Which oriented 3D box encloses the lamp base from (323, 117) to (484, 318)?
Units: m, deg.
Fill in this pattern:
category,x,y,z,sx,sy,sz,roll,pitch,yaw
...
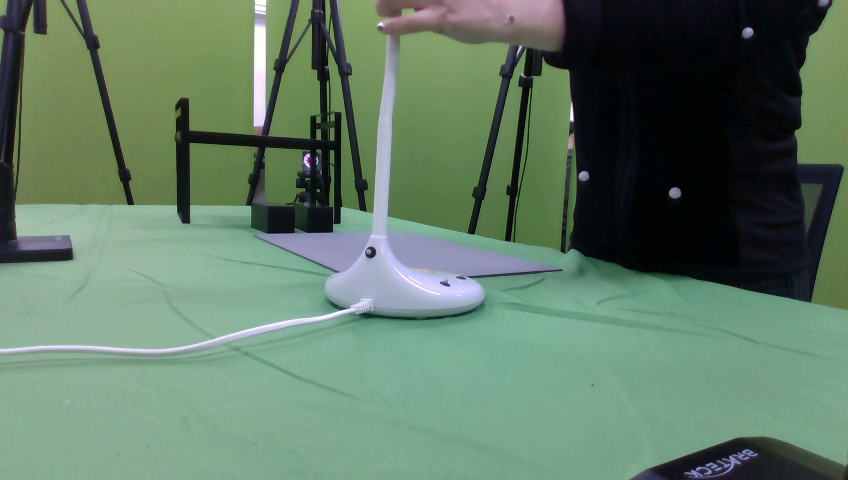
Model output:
category,x,y,z,sx,sy,sz,roll,pitch,yaw
lamp base,-0.021,-0.025,0.582,0.160,0.180,0.179,4,10,16
